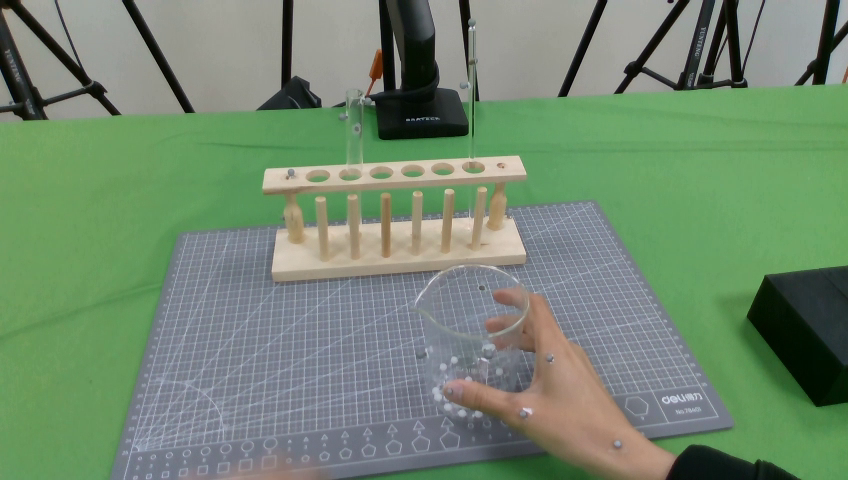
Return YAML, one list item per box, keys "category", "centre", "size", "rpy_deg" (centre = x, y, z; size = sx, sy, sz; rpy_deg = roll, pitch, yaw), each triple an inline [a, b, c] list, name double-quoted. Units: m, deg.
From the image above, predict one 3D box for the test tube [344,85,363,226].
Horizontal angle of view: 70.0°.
- category: "test tube"
  centre: [-0.065, -0.071, 0.555]
  size: [0.017, 0.151, 0.017]
  rpy_deg: [4, 41, -3]

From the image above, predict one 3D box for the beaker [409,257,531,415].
- category: "beaker"
  centre: [0.032, 0.074, 0.446]
  size: [0.084, 0.101, 0.073]
  rpy_deg: [-3, 39, -3]

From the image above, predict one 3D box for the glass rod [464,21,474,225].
- category: "glass rod"
  centre: [0.042, -0.100, 0.566]
  size: [0.008, 0.201, 0.008]
  rpy_deg: [-1, 33, 1]

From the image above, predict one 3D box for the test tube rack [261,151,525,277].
- category: "test tube rack"
  centre: [-0.026, -0.026, 0.579]
  size: [0.243, 0.086, 0.066]
  rpy_deg: [-4, 40, -6]
